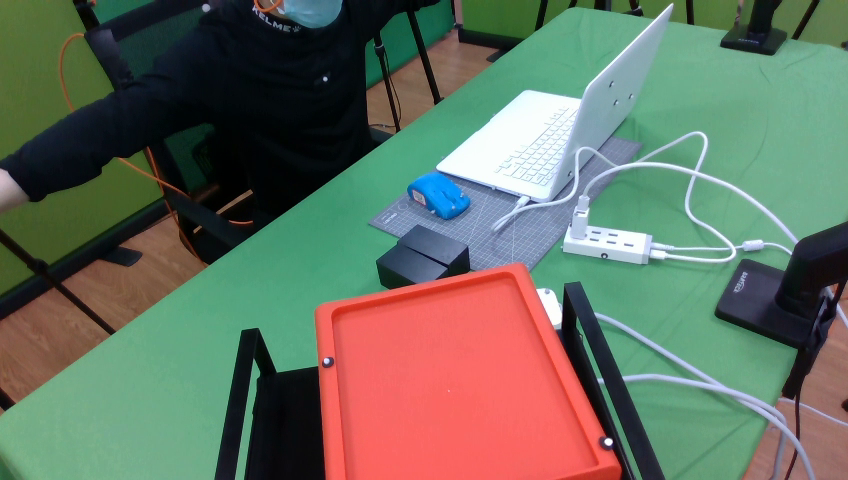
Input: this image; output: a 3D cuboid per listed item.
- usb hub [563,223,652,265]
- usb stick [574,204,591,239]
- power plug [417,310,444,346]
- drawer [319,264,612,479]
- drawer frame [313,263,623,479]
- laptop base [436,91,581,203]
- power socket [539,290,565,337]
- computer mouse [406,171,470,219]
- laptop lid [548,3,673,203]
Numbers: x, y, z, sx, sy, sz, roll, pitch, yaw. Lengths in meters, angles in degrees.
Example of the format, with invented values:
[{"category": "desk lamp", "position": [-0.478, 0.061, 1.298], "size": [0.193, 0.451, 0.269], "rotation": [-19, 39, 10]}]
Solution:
[{"category": "usb hub", "position": [0.281, 0.005, 0.925], "size": [0.124, 0.025, 0.049], "rotation": [10, 43, 19]}, {"category": "usb stick", "position": [0.240, -0.023, 0.914], "size": [0.021, 0.059, 0.027], "rotation": [-3, 34, 19]}, {"category": "power plug", "position": [0.007, 0.123, 0.786], "size": [0.035, 0.053, 0.072], "rotation": [0, 39, 7]}, {"category": "drawer", "position": [0.020, 0.129, 0.497], "size": [0.195, 0.073, 0.210], "rotation": [-11, 41, -5]}, {"category": "drawer frame", "position": [0.021, 0.130, 0.493], "size": [0.202, 0.083, 0.212], "rotation": [-11, 41, -6]}, {"category": "laptop base", "position": [0.214, -0.192, 1.172], "size": [0.233, 0.023, 0.355], "rotation": [19, 46, 32]}, {"category": "power socket", "position": [0.081, 0.112, 0.822], "size": [0.227, 0.033, 0.072], "rotation": [-6, 41, 0]}, {"category": "computer mouse", "position": [0.024, -0.082, 1.049], "size": [0.063, 0.041, 0.116], "rotation": [-30, 50, -27]}, {"category": "laptop lid", "position": [0.320, -0.235, 1.026], "size": [0.013, 0.242, 0.357], "rotation": [31, 50, 20]}]
